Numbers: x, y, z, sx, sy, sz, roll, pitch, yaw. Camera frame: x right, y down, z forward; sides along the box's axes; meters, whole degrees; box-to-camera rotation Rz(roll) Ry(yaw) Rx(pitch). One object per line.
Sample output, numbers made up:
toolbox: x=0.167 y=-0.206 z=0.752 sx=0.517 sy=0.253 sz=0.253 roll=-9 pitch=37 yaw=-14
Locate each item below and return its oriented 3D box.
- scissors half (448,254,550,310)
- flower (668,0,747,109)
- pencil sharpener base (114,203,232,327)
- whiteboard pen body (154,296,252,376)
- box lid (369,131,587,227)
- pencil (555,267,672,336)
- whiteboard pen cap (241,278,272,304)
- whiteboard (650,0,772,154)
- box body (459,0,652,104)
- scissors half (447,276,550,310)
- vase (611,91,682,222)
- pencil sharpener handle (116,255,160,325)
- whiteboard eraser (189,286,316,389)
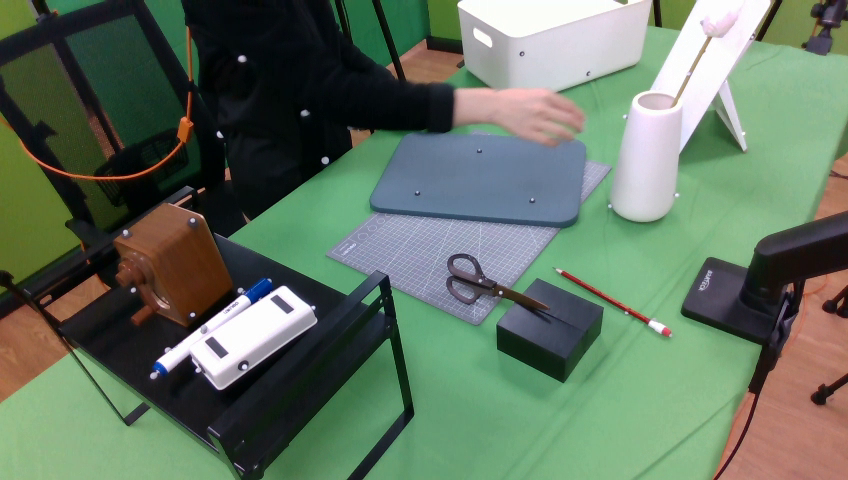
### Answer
scissors half: x=0.098 y=0.058 z=0.821 sx=0.173 sy=0.040 sz=0.013 roll=27 pitch=33 yaw=37
flower: x=0.355 y=-0.187 z=0.879 sx=0.038 sy=0.362 sz=0.044 roll=31 pitch=48 yaw=15
pencil sharpener base: x=-0.262 y=0.029 z=0.635 sx=0.061 sy=0.107 sz=0.077 roll=18 pitch=47 yaw=26
whiteboard pen body: x=-0.215 y=0.088 z=0.619 sx=0.017 sy=0.017 sz=0.141 roll=19 pitch=42 yaw=28
box lid: x=0.107 y=-0.120 z=1.107 sx=0.370 sy=0.015 sz=0.263 roll=5 pitch=42 yaw=14
pencil: x=0.260 y=0.082 z=0.851 sx=0.012 sy=0.012 sz=0.192 roll=-33 pitch=45 yaw=-27
whiteboard pen cap: x=-0.184 y=0.057 z=0.658 sx=0.018 sy=0.018 sz=0.033 roll=19 pitch=44 yaw=28
whiteboard: x=0.543 y=-0.298 z=1.076 sx=0.144 sy=0.305 sz=0.216 roll=12 pitch=40 yaw=-7
box body: x=0.291 y=-0.465 z=1.371 sx=0.365 sy=0.161 sz=0.252 roll=-22 pitch=42 yaw=-16
scissors half: x=0.098 y=0.077 z=0.827 sx=0.174 sy=0.040 sz=0.013 roll=6 pitch=14 yaw=45
vase: x=0.348 y=-0.125 z=0.935 sx=0.098 sy=0.201 sz=0.097 roll=-3 pitch=40 yaw=3
pencil sharpener handle: x=-0.286 y=0.050 z=0.594 sx=0.035 sy=0.068 sz=0.031 roll=7 pitch=41 yaw=36
whiteboard eraser: x=-0.166 y=0.096 z=0.593 sx=0.113 sy=0.042 sz=0.055 roll=-36 pitch=46 yaw=-29
